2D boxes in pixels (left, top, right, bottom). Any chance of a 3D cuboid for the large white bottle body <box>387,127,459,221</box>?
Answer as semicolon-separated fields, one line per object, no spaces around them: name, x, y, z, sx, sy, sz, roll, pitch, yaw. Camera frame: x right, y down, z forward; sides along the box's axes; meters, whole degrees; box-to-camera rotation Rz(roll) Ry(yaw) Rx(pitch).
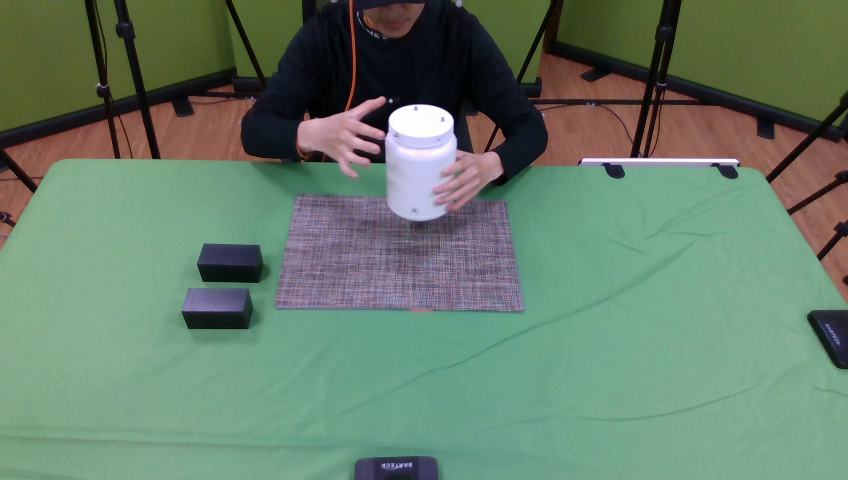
large white bottle body;-0.002;-0.143;1.120;0.130;0.185;0.130;1;41;-1

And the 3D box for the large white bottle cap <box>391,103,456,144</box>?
large white bottle cap;-0.001;-0.207;1.065;0.115;0.018;0.114;1;41;0
